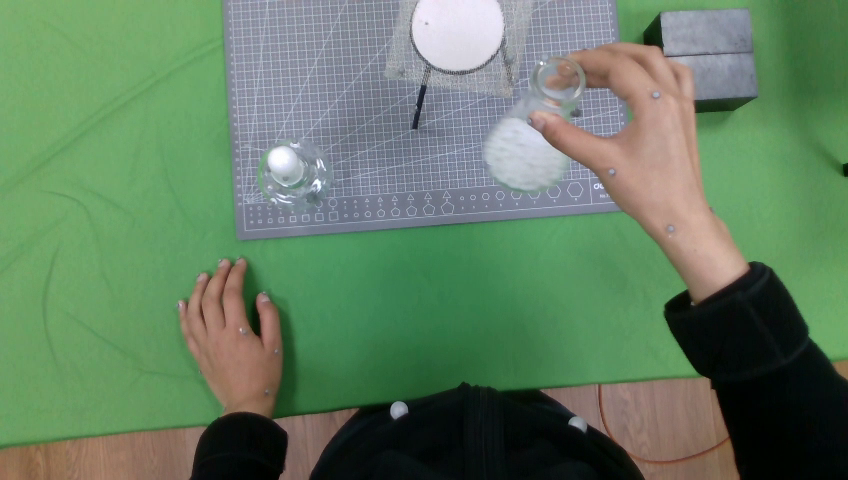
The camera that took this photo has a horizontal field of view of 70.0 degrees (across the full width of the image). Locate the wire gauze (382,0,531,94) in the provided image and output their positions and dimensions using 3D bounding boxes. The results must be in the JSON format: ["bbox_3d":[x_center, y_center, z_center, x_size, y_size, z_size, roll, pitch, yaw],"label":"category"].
[{"bbox_3d":[0.033,-0.203,0.559,0.121,0.011,0.125,13,85,-1],"label":"wire gauze"}]

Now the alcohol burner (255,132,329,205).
[{"bbox_3d":[-0.139,-0.076,0.621,0.078,0.119,0.078,0,87,-1],"label":"alcohol burner"}]

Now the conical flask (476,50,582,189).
[{"bbox_3d":[0.084,-0.093,0.460,0.075,0.122,0.075,1,73,-4],"label":"conical flask"}]

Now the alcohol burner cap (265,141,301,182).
[{"bbox_3d":[-0.138,-0.078,0.586,0.034,0.048,0.033,1,81,-5],"label":"alcohol burner cap"}]

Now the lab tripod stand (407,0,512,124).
[{"bbox_3d":[0.025,-0.198,0.626,0.148,0.131,0.148,0,86,0],"label":"lab tripod stand"}]
